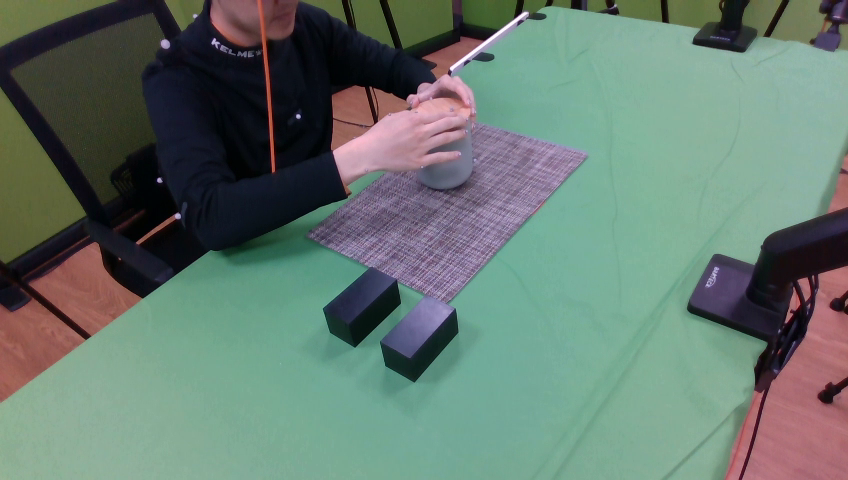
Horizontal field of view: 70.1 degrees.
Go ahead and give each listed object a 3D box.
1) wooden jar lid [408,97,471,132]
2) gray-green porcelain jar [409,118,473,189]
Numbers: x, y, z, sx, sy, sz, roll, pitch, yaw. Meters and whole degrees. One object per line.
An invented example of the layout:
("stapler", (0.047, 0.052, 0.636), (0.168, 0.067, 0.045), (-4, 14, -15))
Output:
("wooden jar lid", (0.027, -0.209, 1.027), (0.108, 0.021, 0.108), (-6, 40, 5))
("gray-green porcelain jar", (0.032, -0.163, 1.068), (0.106, 0.127, 0.105), (-4, 41, 4))
